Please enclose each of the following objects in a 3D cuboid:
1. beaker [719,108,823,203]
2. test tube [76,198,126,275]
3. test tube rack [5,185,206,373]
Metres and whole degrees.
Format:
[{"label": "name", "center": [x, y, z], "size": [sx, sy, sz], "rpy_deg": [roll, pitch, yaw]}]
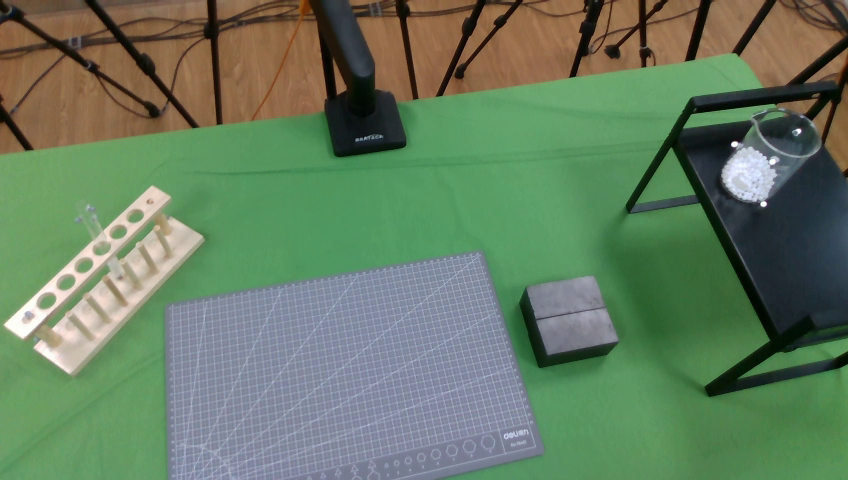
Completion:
[{"label": "beaker", "center": [0.408, -0.099, 0.729], "size": [0.083, 0.101, 0.074], "rpy_deg": [35, 63, 16]}, {"label": "test tube", "center": [-0.405, -0.001, 0.766], "size": [0.017, 0.151, 0.017], "rpy_deg": [4, 54, -5]}, {"label": "test tube rack", "center": [-0.405, 0.047, 0.796], "size": [0.066, 0.086, 0.241], "rpy_deg": [30, 62, 13]}]
